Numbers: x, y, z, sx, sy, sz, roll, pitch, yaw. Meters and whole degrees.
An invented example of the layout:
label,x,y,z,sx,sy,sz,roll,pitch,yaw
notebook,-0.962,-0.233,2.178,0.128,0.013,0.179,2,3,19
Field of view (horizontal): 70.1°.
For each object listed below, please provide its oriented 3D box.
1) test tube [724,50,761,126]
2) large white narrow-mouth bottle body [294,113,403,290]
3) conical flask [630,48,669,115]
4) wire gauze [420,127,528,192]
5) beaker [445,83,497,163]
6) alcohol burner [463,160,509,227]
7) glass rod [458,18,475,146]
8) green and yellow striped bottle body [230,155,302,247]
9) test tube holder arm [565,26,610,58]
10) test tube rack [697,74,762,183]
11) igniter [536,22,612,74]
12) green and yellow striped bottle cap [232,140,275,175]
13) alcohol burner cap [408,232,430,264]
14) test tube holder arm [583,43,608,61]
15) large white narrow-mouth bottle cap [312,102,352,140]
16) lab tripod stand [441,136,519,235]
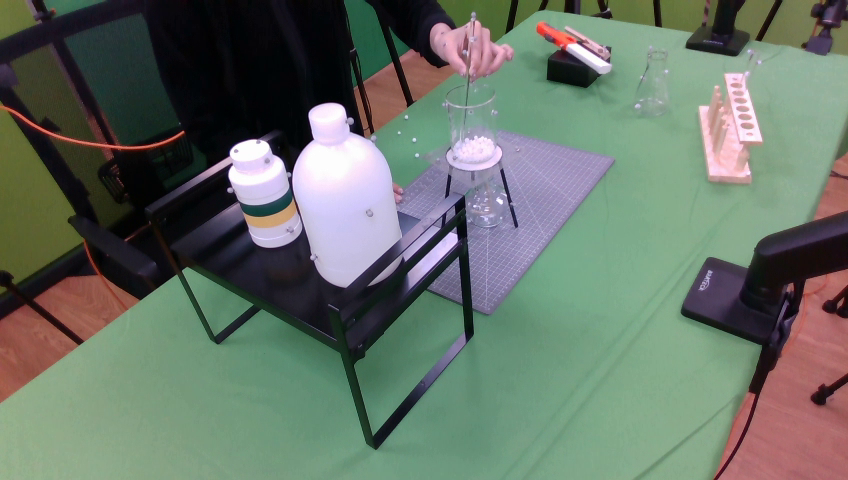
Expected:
label,x,y,z,sx,sy,sz,roll,pitch,yaw
test tube,0.570,-0.269,1.086,0.017,0.151,0.017,-1,45,1
large white narrow-mouth bottle body,-0.082,-0.047,0.634,0.102,0.195,0.101,-4,39,3
conical flask,0.456,-0.317,1.205,0.075,0.122,0.075,-4,41,4
wire gauze,0.076,-0.131,0.927,0.122,0.011,0.124,-34,49,-25
beaker,0.073,-0.175,0.905,0.074,0.101,0.084,3,41,13
alcohol burner,0.102,-0.081,0.982,0.078,0.119,0.077,-4,43,4
glass rod,0.060,-0.219,0.862,0.008,0.200,0.008,2,43,-2
green and yellow striped bottle body,-0.188,-0.055,0.714,0.063,0.120,0.063,-4,41,4
test tube holder arm,0.369,-0.451,1.373,0.013,0.015,0.177,-39,41,10
test tube rack,0.547,-0.208,1.095,0.066,0.085,0.242,5,42,15
igniter,0.330,-0.438,1.366,0.057,0.025,0.274,-11,41,-19
green and yellow striped bottle cap,-0.192,-0.093,0.680,0.045,0.020,0.045,-5,39,5
alcohol burner cap,-0.009,0.010,0.947,0.034,0.048,0.033,-4,41,4
test tube holder arm,0.379,-0.420,1.341,0.010,0.015,0.087,-39,41,10
large white narrow-mouth bottle cap,-0.088,-0.114,0.579,0.038,0.024,0.037,-3,39,3
lab tripod stand,0.083,-0.086,0.976,0.148,0.132,0.147,-4,42,4
